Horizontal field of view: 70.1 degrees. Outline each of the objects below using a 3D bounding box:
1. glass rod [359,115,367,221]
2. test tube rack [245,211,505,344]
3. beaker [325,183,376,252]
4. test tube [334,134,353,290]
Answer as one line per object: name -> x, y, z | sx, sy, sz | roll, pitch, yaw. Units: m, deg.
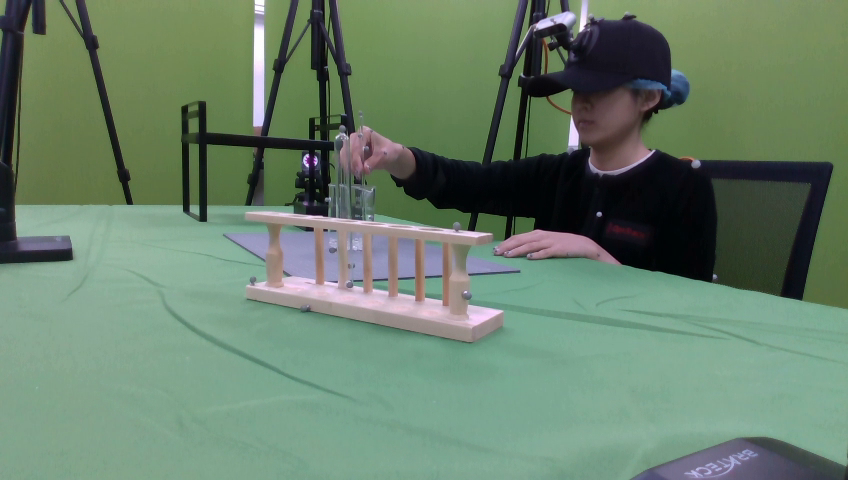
glass rod -> -0.091, -0.087, 0.910 | 0.008, 0.199, 0.008 | -2, 7, 1
test tube rack -> -0.049, 0.025, 0.547 | 0.241, 0.085, 0.067 | 7, 8, 29
beaker -> -0.110, -0.034, 0.920 | 0.083, 0.100, 0.074 | 10, 11, 43
test tube -> -0.077, -0.026, 0.579 | 0.017, 0.150, 0.017 | 0, 7, 0
